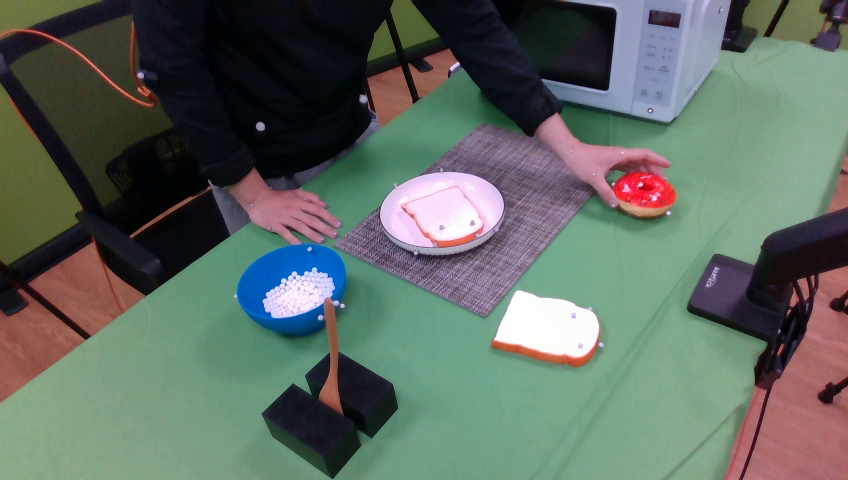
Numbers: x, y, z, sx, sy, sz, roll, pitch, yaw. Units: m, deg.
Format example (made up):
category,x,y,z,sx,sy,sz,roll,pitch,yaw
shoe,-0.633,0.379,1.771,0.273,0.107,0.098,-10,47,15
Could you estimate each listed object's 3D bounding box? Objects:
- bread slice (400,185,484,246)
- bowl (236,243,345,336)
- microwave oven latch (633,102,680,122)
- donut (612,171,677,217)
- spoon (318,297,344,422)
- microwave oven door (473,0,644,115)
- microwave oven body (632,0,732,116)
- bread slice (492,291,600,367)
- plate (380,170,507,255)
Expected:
category,x,y,z,sx,sy,sz,roll,pitch,yaw
bread slice,0.037,-0.038,0.990,0.107,0.018,0.133,-23,43,-17
bowl,-0.180,0.082,0.855,0.151,0.077,0.150,-4,40,4
microwave oven latch,0.444,-0.249,1.157,0.078,0.029,0.030,21,49,30
donut,0.355,-0.074,0.977,0.099,0.048,0.098,-1,40,1
spoon,-0.107,0.139,0.687,0.041,0.194,0.022,27,37,31
microwave oven door,0.257,-0.396,1.199,0.353,0.245,0.039,21,48,29
microwave oven body,0.377,-0.462,1.267,0.438,0.261,0.327,21,48,30
bread slice,0.169,0.118,0.811,0.131,0.019,0.105,11,45,22
plate,0.033,-0.042,0.995,0.207,0.039,0.206,-4,40,4
